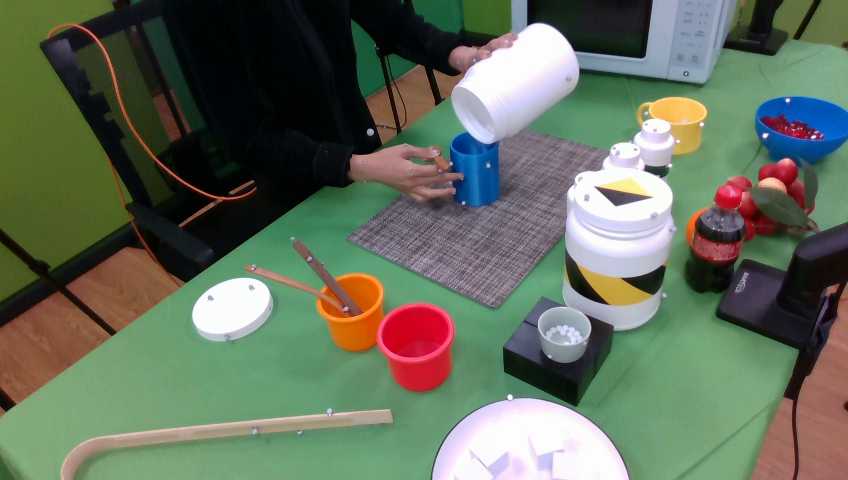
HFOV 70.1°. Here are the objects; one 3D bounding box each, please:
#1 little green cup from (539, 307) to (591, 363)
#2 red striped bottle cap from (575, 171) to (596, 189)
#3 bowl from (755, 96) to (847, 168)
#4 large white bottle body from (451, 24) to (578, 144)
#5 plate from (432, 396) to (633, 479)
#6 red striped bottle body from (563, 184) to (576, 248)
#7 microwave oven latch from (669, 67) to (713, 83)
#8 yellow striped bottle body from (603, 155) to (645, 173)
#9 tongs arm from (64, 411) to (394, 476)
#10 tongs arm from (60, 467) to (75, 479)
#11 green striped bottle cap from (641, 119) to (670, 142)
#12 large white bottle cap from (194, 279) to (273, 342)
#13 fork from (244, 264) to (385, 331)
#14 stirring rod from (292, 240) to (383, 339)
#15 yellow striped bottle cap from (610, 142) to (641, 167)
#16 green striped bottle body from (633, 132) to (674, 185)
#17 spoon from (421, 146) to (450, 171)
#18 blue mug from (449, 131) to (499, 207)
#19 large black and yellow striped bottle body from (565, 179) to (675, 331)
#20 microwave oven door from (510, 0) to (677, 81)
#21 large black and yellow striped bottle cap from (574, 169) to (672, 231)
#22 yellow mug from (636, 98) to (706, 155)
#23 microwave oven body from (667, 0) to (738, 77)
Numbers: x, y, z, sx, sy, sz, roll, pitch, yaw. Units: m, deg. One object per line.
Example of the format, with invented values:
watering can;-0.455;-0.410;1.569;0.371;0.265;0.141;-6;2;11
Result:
little green cup;0.167;0.114;0.721;0.061;0.039;0.061;-4;43;4
red striped bottle cap;0.242;-0.081;0.876;0.044;0.018;0.044;-5;43;5
bowl;0.645;-0.177;1.041;0.151;0.077;0.150;-5;40;4
large white bottle body;0.147;-0.253;0.996;0.185;0.131;0.129;-38;47;-15
plate;0.112;0.261;0.635;0.209;0.038;0.208;-5;40;4
red striped bottle body;0.247;-0.041;0.910;0.063;0.120;0.062;-1;38;1
microwave oven latch;0.556;-0.348;1.261;0.078;0.029;0.030;16;46;27
yellow striped bottle body;0.314;-0.091;0.957;0.063;0.121;0.062;-4;40;4
tongs arm;-0.228;0.241;0.715;0.385;0.026;0.050;-5;44;4
tongs arm;-0.239;0.301;0.649;0.386;0.028;0.028;6;49;16
green striped bottle cap;0.371;-0.175;0.968;0.044;0.020;0.044;-5;42;5
large white bottle cap;-0.284;0.103;0.902;0.115;0.018;0.114;-4;40;4
fork;-0.142;0.078;0.806;0.209;0.018;0.028;30;33;-23
stirring rod;-0.118;0.068;0.825;0.176;0.006;0.014;48;59;-4
yellow striped bottle cap;0.309;-0.130;0.925;0.044;0.019;0.044;-5;43;5
green striped bottle body;0.376;-0.135;1.001;0.063;0.120;0.063;-5;41;5
spoon;0.020;-0.136;1.015;0.041;0.022;0.193;-28;15;1
blue mug;0.089;-0.133;1.048;0.082;0.106;0.116;0;41;7
large black and yellow striped bottle body;0.254;0.014;0.793;0.131;0.185;0.130;-5;40;4
microwave oven door;0.354;-0.478;1.290;0.353;0.245;0.039;15;45;25
large black and yellow striped bottle cap;0.242;-0.051;0.738;0.115;0.019;0.114;-4;37;3
yellow mug;0.453;-0.217;1.128;0.100;0.064;0.129;-34;46;-27
microwave oven body;0.462;-0.552;1.369;0.439;0.261;0.326;15;45;26
